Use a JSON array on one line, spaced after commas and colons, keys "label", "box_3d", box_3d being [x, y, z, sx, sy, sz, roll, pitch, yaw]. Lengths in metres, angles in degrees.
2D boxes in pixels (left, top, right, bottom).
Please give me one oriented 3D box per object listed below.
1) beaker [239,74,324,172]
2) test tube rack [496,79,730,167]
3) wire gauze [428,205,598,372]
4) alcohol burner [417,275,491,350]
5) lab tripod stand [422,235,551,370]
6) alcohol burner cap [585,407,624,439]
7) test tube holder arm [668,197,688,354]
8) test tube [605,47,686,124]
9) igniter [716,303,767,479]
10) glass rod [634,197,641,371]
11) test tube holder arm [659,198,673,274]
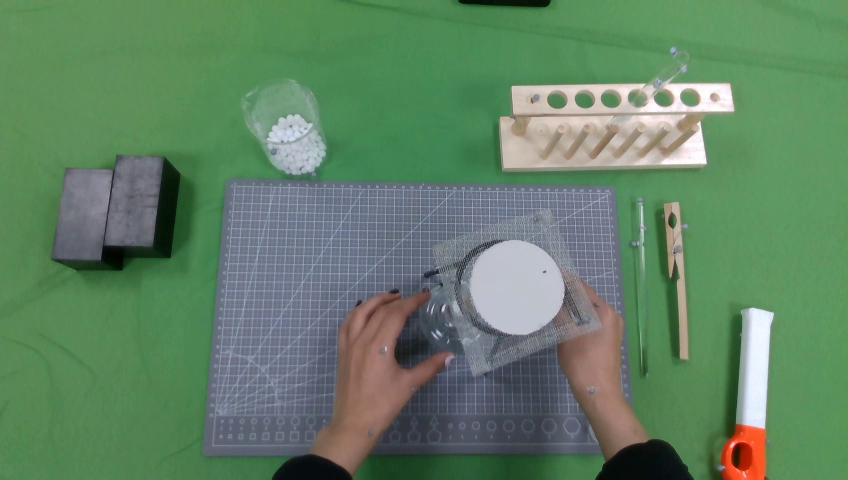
[{"label": "beaker", "box_3d": [-0.151, -0.123, 0.659, 0.084, 0.100, 0.073, 19, 75, 2]}, {"label": "test tube rack", "box_3d": [0.210, -0.131, 0.690, 0.242, 0.085, 0.066, -2, 76, -4]}, {"label": "wire gauze", "box_3d": [0.078, 0.039, 0.543, 0.121, 0.011, 0.124, -18, 77, -6]}, {"label": "alcohol burner", "box_3d": [0.031, 0.070, 0.613, 0.078, 0.119, 0.077, 1, 74, -2]}, {"label": "lab tripod stand", "box_3d": [0.064, 0.054, 0.608, 0.148, 0.132, 0.147, 0, 77, -1]}, {"label": "alcohol burner cap", "box_3d": [0.190, 0.190, 0.630, 0.034, 0.048, 0.033, 1, 76, -3]}, {"label": "test tube holder arm", "box_3d": [0.286, 0.039, 0.685, 0.013, 0.015, 0.177, -8, 75, 30]}, {"label": "test tube", "box_3d": [0.231, -0.159, 0.647, 0.017, 0.150, 0.017, 2, 75, -9]}, {"label": "igniter", "box_3d": [0.341, 0.204, 0.646, 0.057, 0.025, 0.275, 14, 76, -10]}, {"label": "glass rod", "box_3d": [0.243, 0.047, 0.688, 0.008, 0.008, 0.199, 4, 79, -3]}, {"label": "test tube holder arm", "box_3d": [0.281, -0.004, 0.698, 0.010, 0.015, 0.087, -8, 75, 30]}]
